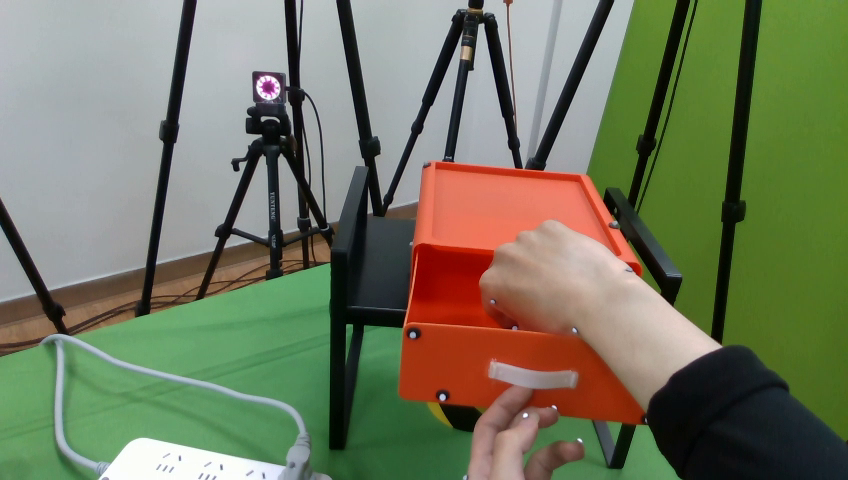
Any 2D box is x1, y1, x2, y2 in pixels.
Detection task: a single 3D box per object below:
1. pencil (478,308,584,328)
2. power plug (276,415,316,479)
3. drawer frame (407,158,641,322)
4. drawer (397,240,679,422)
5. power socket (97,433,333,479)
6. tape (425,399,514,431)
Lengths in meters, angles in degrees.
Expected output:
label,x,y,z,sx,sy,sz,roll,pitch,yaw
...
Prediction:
label,x,y,z,sx,sy,sz,roll,pitch,yaw
pencil,0.066,0.073,0.522,0.195,0.012,0.012,-3,28,-31
power plug,-0.111,0.209,0.568,0.035,0.053,0.072,14,30,16
drawer frame,0.088,-0.006,0.623,0.202,0.083,0.212,4,27,-1
drawer,0.083,0.051,0.521,0.194,0.074,0.210,5,27,0
power socket,-0.191,0.231,0.561,0.226,0.033,0.072,9,27,7
tape,0.057,0.164,0.715,0.117,0.053,0.116,5,29,-2
